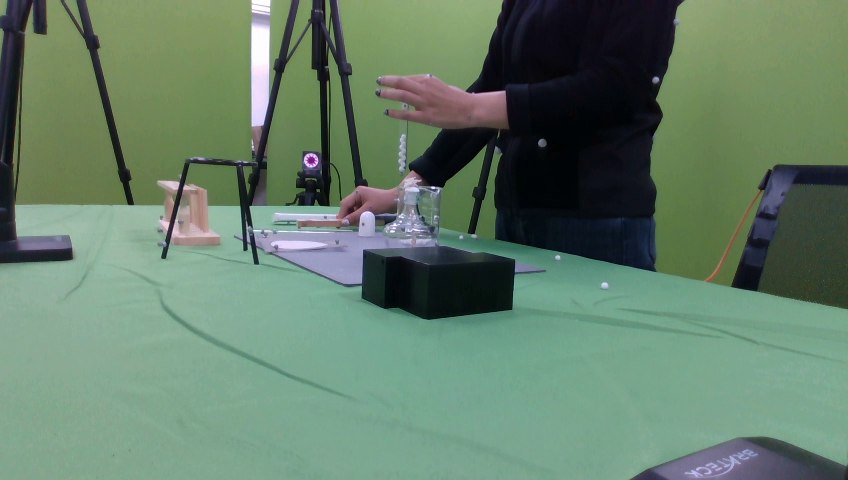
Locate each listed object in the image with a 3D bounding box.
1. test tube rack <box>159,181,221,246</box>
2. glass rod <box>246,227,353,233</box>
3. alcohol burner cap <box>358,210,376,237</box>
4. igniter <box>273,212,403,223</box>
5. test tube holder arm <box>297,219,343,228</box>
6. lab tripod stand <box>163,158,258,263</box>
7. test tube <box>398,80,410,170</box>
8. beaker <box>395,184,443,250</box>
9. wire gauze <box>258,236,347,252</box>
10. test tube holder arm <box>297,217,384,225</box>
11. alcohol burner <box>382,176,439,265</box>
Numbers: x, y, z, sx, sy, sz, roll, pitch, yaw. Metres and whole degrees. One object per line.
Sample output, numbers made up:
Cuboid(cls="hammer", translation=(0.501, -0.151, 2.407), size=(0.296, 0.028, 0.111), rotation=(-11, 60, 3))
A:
Cuboid(cls="test tube rack", translation=(-0.395, -0.050, 1.010), size=(0.067, 0.085, 0.241), rotation=(-2, 8, -28))
Cuboid(cls="glass rod", translation=(-0.224, -0.017, 1.109), size=(0.201, 0.008, 0.008), rotation=(1, 7, -27))
Cuboid(cls="alcohol burner cap", translation=(-0.104, -0.030, 1.098), size=(0.034, 0.048, 0.034), rotation=(3, 7, 0))
Cuboid(cls="igniter", translation=(-0.179, -0.048, 1.290), size=(0.278, 0.025, 0.057), rotation=(-1, -2, -24))
Cuboid(cls="test tube holder arm", translation=(-0.201, -0.032, 1.171), size=(0.088, 0.015, 0.010), rotation=(-2, 29, -27))
Cuboid(cls="lab tripod stand", translation=(-0.265, -0.041, 0.802), size=(0.148, 0.131, 0.148), rotation=(4, 7, 0))
Cuboid(cls="test tube", translation=(-0.035, -0.193, 1.020), size=(0.017, 0.150, 0.017), rotation=(2, 10, 0))
Cuboid(cls="beaker", translation=(-0.007, -0.037, 0.965), size=(0.074, 0.100, 0.083), rotation=(-4, 10, -40))
Cuboid(cls="wire gauze", translation=(-0.189, 0.005, 0.931), size=(0.122, 0.011, 0.124), rotation=(1, 7, -21))
Cuboid(cls="test tube holder arm", translation=(-0.163, -0.036, 1.197), size=(0.179, 0.015, 0.013), rotation=(-3, 30, -29))
Cuboid(cls="alcohol burner", translation=(-0.018, -0.027, 0.818), size=(0.078, 0.119, 0.078), rotation=(3, 9, 0))
